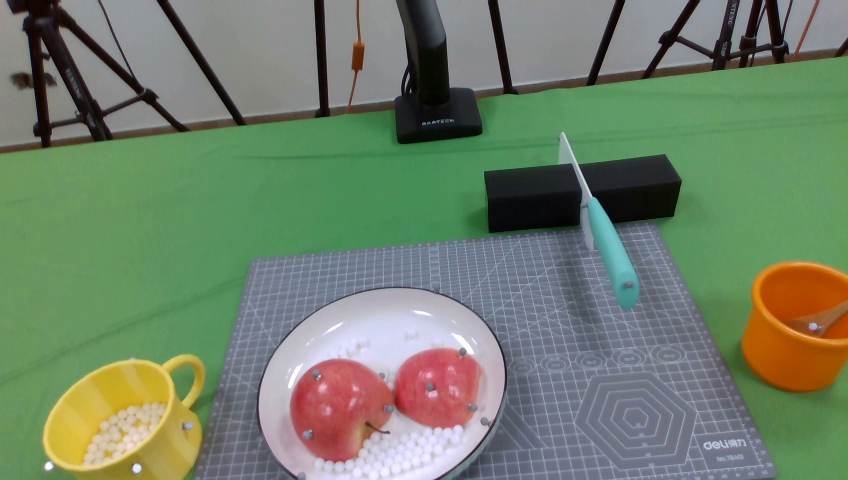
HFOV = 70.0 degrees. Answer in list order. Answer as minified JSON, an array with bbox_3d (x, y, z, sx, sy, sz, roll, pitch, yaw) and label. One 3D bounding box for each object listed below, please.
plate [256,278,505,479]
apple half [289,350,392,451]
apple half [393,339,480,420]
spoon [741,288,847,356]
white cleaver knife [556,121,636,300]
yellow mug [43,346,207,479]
[{"bbox_3d":[-0.036,0.119,0.515,0.209,0.038,0.207,-3,43,4],"label":"plate"},{"bbox_3d":[-0.071,0.121,0.493,0.074,0.054,0.081,29,54,36],"label":"apple half"},{"bbox_3d":[0.009,0.109,0.510,0.081,0.033,0.080,-3,45,3],"label":"apple half"},{"bbox_3d":[0.344,0.039,0.475,0.022,0.194,0.041,30,38,-26],"label":"spoon"},{"bbox_3d":[0.173,-0.038,0.638,0.021,0.066,0.283,-8,38,5],"label":"white cleaver knife"},{"bbox_3d":[-0.233,0.139,0.502,0.099,0.064,0.130,20,48,26],"label":"yellow mug"}]
